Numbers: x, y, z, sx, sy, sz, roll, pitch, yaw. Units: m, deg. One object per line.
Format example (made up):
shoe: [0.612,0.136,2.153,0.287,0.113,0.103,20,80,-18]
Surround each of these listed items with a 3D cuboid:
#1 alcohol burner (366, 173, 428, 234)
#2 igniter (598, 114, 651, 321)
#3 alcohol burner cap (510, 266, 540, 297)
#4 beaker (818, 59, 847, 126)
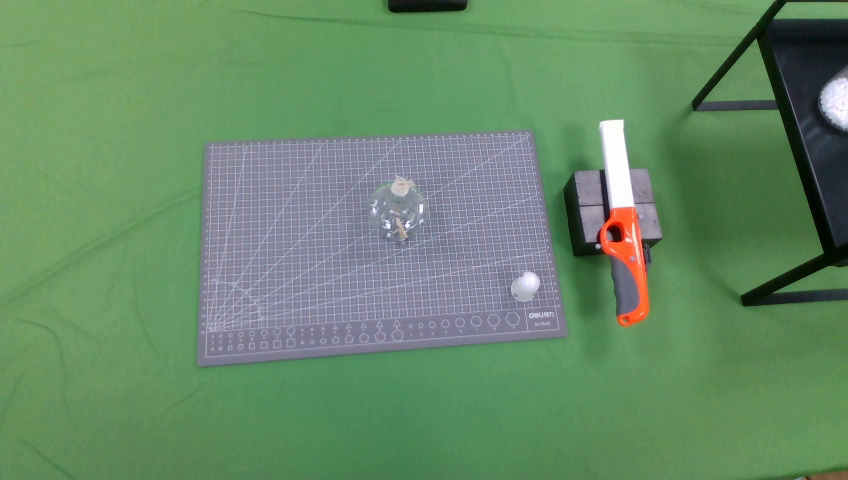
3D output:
alcohol burner: [-0.032,-0.052,0.742,0.078,0.119,0.077,2,70,-6]
igniter: [0.247,-0.034,0.759,0.057,0.025,0.274,-2,70,7]
alcohol burner cap: [0.127,0.050,0.758,0.034,0.048,0.033,2,70,-4]
beaker: [0.485,-0.174,0.650,0.084,0.101,0.073,-16,72,-10]
